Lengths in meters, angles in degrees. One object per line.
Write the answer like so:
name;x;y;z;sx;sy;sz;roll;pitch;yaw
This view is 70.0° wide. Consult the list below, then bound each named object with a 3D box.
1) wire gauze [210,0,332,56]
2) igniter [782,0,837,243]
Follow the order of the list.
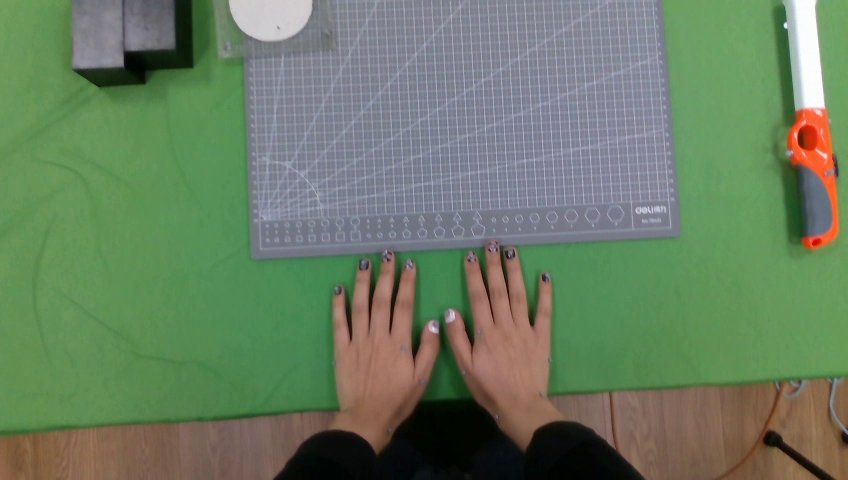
wire gauze;-0.167;-0.258;0.638;0.125;0.011;0.121;-9;86;-2
igniter;0.408;-0.134;0.645;0.057;0.025;0.276;-2;86;-13
